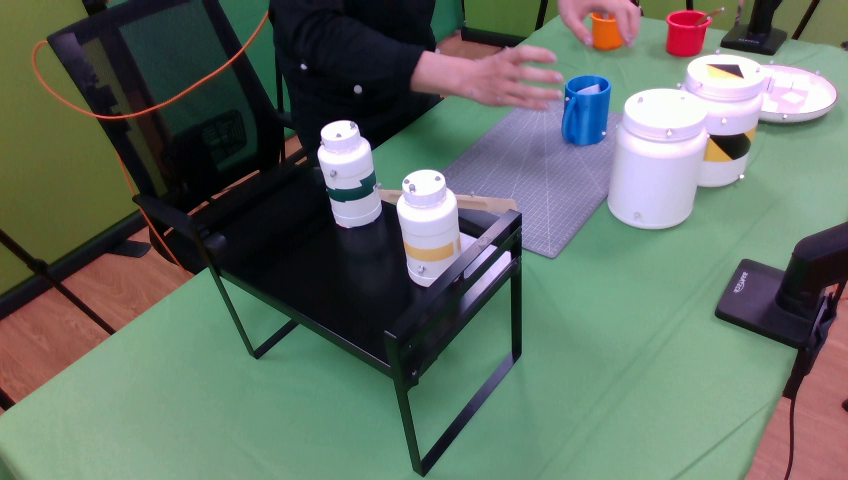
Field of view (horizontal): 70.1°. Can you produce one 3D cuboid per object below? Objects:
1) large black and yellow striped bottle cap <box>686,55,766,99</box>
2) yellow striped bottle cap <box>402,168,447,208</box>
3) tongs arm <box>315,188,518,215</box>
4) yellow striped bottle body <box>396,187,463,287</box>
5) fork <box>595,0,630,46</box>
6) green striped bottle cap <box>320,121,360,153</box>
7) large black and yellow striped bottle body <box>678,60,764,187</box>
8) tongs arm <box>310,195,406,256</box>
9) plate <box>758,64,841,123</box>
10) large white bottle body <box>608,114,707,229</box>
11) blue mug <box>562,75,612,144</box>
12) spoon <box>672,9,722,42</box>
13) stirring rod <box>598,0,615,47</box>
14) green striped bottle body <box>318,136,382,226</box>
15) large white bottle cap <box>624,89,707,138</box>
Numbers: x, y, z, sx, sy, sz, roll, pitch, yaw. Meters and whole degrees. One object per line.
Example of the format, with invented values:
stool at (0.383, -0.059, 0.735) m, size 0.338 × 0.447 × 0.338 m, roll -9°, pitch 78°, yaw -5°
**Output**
large black and yellow striped bottle cap at (0.474, -0.258, 0.952) m, size 0.115 × 0.019 × 0.114 m, roll -5°, pitch 41°, yaw 5°
yellow striped bottle cap at (0.000, -0.052, 0.604) m, size 0.044 × 0.019 × 0.044 m, roll -5°, pitch 44°, yaw 5°
tongs arm at (-0.028, -0.060, 0.988) m, size 0.382 × 0.027 × 0.051 m, roll 10°, pitch 45°, yaw 36°
yellow striped bottle body at (0.006, -0.013, 0.638) m, size 0.063 × 0.121 × 0.062 m, roll -5°, pitch 41°, yaw 4°
fork at (0.479, -0.556, 1.452) m, size 0.028 × 0.019 × 0.207 m, roll 41°, pitch 103°, yaw 40°
green striped bottle cap at (-0.097, -0.120, 0.699) m, size 0.044 × 0.020 × 0.044 m, roll -3°, pitch 40°, yaw 3°
large black and yellow striped bottle body at (0.482, -0.196, 1.008) m, size 0.131 × 0.185 × 0.130 m, roll -4°, pitch 41°, yaw 4°
tongs arm at (-0.078, -0.013, 0.944) m, size 0.028 × 0.028 × 0.384 m, roll -42°, pitch 39°, yaw -23°
plate at (0.695, -0.283, 1.189) m, size 0.207 × 0.039 × 0.206 m, roll -4°, pitch 40°, yaw 4°
large white bottle body at (0.361, -0.124, 0.941) m, size 0.130 × 0.185 × 0.130 m, roll -5°, pitch 41°, yaw 4°
blue mug at (0.298, -0.239, 1.143) m, size 0.081 × 0.106 × 0.117 m, roll 30°, pitch 54°, yaw 36°
spoon at (0.606, -0.476, 1.345) m, size 0.042 × 0.021 × 0.193 m, roll -6°, pitch -3°, yaw -2°
stirring rod at (0.437, -0.551, 1.462) m, size 0.014 × 0.006 × 0.175 m, roll -11°, pitch 83°, yaw 1°
green striped bottle body at (-0.090, -0.080, 0.733) m, size 0.063 × 0.120 × 0.063 m, roll -5°, pitch 41°, yaw 4°
large white bottle cap at (0.352, -0.187, 0.886) m, size 0.115 × 0.018 × 0.114 m, roll -4°, pitch 41°, yaw 4°
